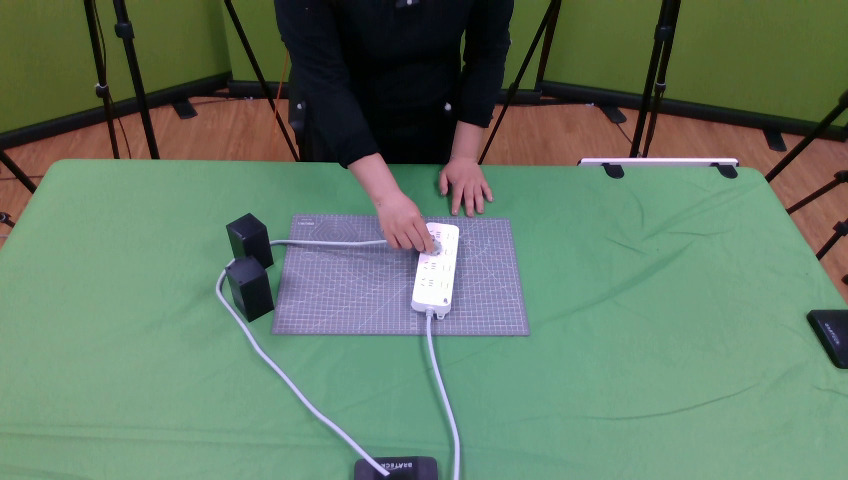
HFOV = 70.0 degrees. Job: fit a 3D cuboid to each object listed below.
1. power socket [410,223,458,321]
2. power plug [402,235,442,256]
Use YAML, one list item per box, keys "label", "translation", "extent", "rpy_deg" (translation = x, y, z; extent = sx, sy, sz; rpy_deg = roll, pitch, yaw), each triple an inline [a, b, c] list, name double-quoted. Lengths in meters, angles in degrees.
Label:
- label: "power socket"
  translation: [0.022, 0.051, 1.139]
  extent: [0.072, 0.033, 0.225]
  rpy_deg: [7, 46, 3]
- label: "power plug"
  translation: [-0.002, 0.010, 1.150]
  extent: [0.072, 0.053, 0.035]
  rpy_deg: [15, 47, 12]
